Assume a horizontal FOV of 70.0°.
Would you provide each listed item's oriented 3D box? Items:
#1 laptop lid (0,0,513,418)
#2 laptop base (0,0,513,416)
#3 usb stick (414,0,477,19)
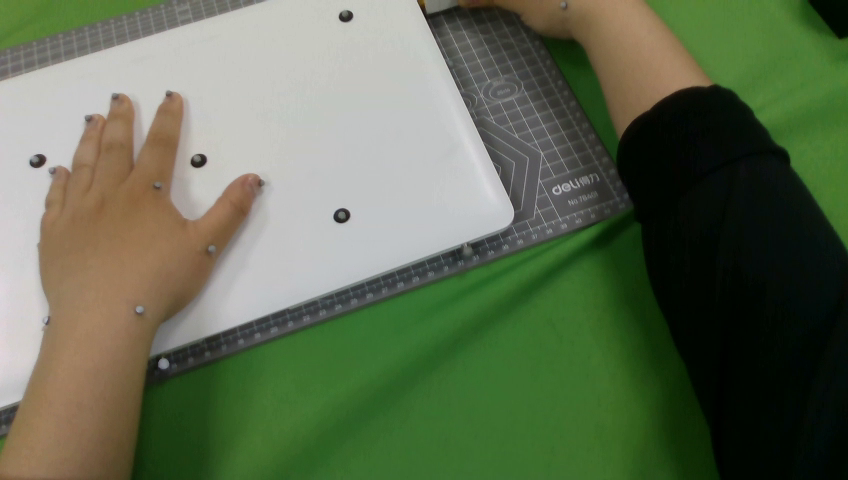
[{"bbox_3d":[-0.145,-0.048,0.397,0.357,0.013,0.239,-18,69,-5],"label":"laptop lid"},{"bbox_3d":[-0.146,-0.046,0.406,0.354,0.023,0.233,-20,70,-6],"label":"laptop base"},{"bbox_3d":[0.009,-0.183,0.446,0.059,0.027,0.021,-20,59,0],"label":"usb stick"}]
